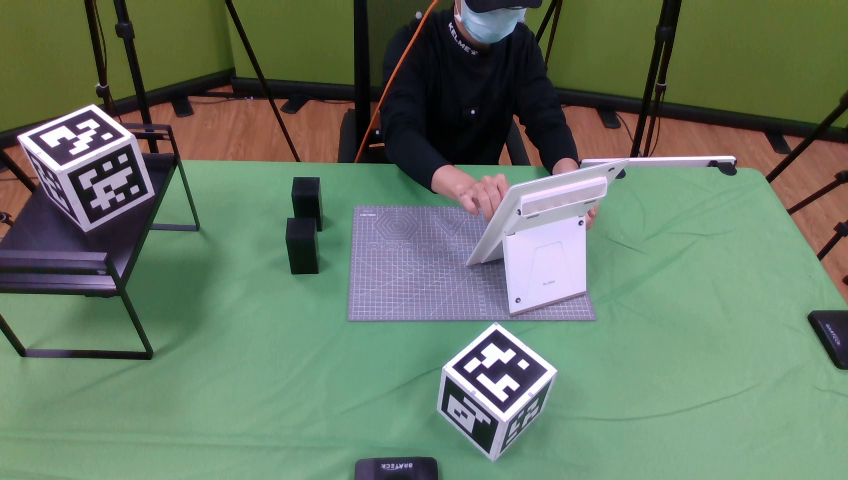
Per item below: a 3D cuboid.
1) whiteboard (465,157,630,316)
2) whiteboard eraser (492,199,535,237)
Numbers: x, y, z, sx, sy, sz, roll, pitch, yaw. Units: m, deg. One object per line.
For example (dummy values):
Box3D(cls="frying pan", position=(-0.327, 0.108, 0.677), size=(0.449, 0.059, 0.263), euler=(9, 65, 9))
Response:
Box3D(cls="whiteboard", position=(0.224, 0.015, 1.041), size=(0.217, 0.306, 0.143), euler=(-13, 68, -17))
Box3D(cls="whiteboard eraser", position=(0.156, -0.040, 1.054), size=(0.041, 0.101, 0.018), euler=(-11, 66, -36))
